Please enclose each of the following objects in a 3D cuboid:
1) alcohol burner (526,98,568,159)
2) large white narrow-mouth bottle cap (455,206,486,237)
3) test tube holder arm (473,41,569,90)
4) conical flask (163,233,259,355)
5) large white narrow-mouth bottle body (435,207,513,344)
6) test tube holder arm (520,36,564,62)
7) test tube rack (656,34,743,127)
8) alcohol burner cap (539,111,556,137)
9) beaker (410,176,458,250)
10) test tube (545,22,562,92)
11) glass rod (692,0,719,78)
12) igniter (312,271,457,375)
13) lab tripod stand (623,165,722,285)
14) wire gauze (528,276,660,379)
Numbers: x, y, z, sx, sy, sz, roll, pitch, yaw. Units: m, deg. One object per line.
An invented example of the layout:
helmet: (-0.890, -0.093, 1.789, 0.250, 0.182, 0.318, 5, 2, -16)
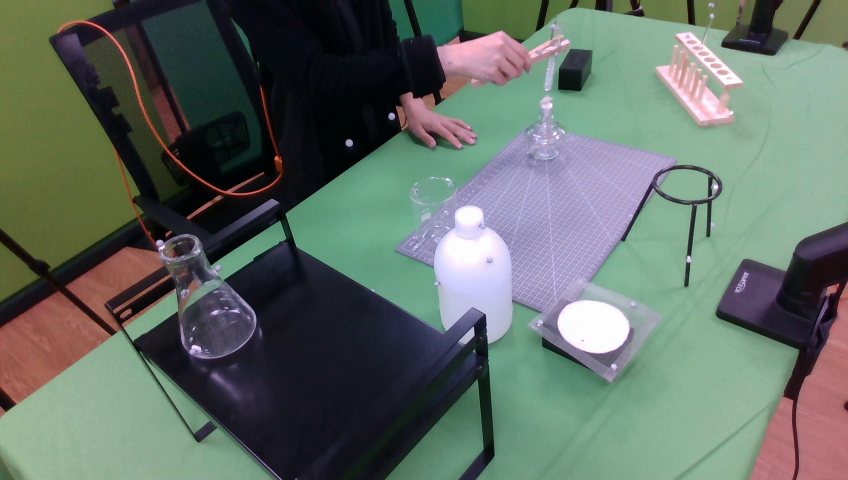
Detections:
alcohol burner: (0.228, -0.210, 1.118, 0.078, 0.119, 0.077, -5, 43, 5)
large white narrow-mouth bottle cap: (0.057, -0.023, 0.734, 0.038, 0.024, 0.037, -4, 40, 4)
test tube holder arm: (0.159, -0.284, 0.982, 0.179, 0.015, 0.013, -27, 59, -11)
conical flask: (-0.216, 0.051, 0.601, 0.075, 0.122, 0.075, -4, 40, 4)
large white narrow-mouth bottle body: (0.065, 0.041, 0.791, 0.102, 0.195, 0.101, -4, 41, 4)
test tube holder arm: (0.194, -0.310, 0.994, 0.088, 0.015, 0.010, -34, 61, -15)
test tube rack: (0.553, -0.330, 1.233, 0.067, 0.085, 0.241, -7, 40, 2)
alcohol burner cap: (0.243, -0.232, 1.197, 0.034, 0.048, 0.033, -5, 38, 4)
beaker: (0.022, -0.041, 0.964, 0.073, 0.101, 0.084, 28, 51, 35)
test tube: (0.218, -0.305, 1.020, 0.017, 0.151, 0.017, -2, 61, 5)
glass rod: (0.561, -0.401, 1.214, 0.008, 0.200, 0.008, -1, 48, 2)
igniter: (-0.068, 0.111, 0.859, 0.274, 0.025, 0.057, 27, 61, 34)
lab tripod stand: (0.365, -0.030, 0.875, 0.148, 0.132, 0.147, -6, 41, 6)
wire gauze: (0.214, 0.103, 0.763, 0.124, 0.011, 0.122, 30, 52, 35)
